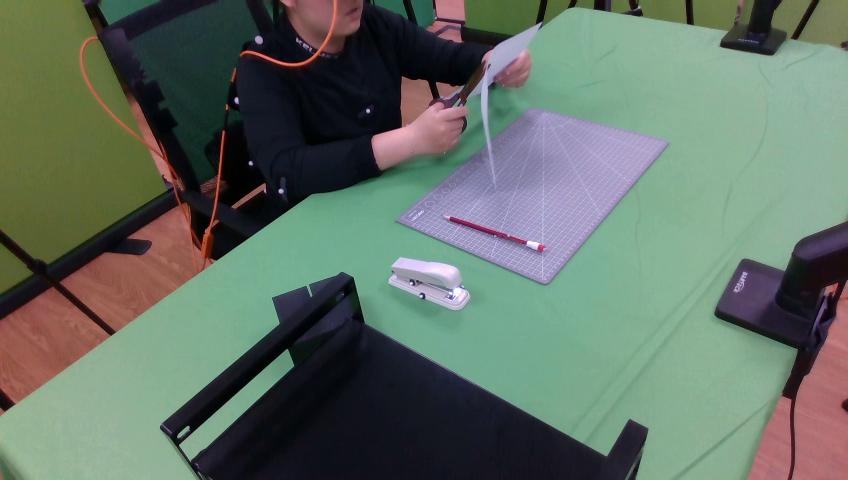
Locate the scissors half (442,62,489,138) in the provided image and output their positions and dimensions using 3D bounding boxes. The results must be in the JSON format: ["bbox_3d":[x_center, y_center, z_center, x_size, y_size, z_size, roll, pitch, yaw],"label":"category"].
[{"bbox_3d":[0.078,-0.252,1.101,0.040,0.175,0.013,29,44,1],"label":"scissors half"}]

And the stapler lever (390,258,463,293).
[{"bbox_3d":[0.003,0.046,0.881,0.117,0.040,0.027,17,44,29],"label":"stapler lever"}]

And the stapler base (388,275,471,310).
[{"bbox_3d":[0.007,0.066,0.897,0.129,0.024,0.041,17,44,29],"label":"stapler base"}]

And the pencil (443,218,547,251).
[{"bbox_3d":[0.110,-0.012,0.980,0.192,0.012,0.012,18,46,30],"label":"pencil"}]

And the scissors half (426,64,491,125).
[{"bbox_3d":[0.062,-0.266,1.099,0.174,0.040,0.013,-31,15,41],"label":"scissors half"}]
